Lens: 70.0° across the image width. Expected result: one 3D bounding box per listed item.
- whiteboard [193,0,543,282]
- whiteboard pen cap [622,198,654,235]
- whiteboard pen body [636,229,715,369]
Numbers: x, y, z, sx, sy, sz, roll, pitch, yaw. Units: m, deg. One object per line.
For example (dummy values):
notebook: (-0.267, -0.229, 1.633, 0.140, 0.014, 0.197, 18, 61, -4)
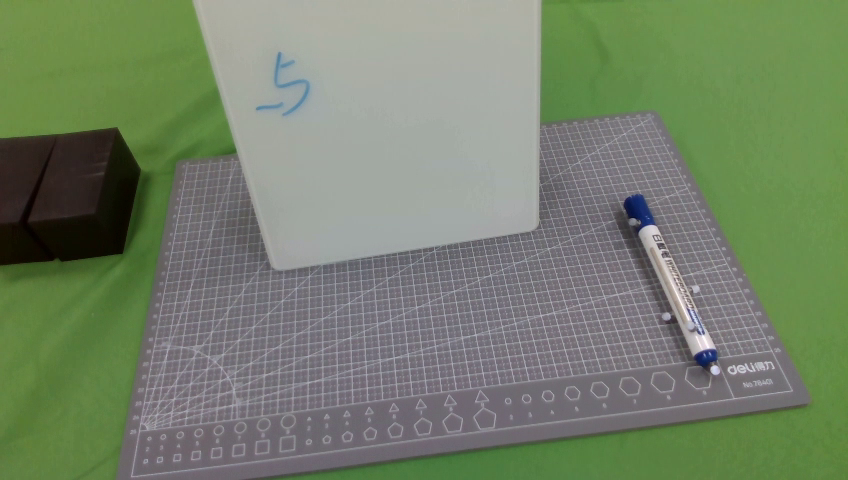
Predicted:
whiteboard: (-0.035, -0.148, 0.456, 0.217, 0.308, 0.142, -8, 32, -3)
whiteboard pen cap: (0.171, -0.017, 0.484, 0.018, 0.018, 0.033, -7, 54, -4)
whiteboard pen body: (0.180, 0.030, 0.449, 0.017, 0.017, 0.139, -8, 53, -4)
